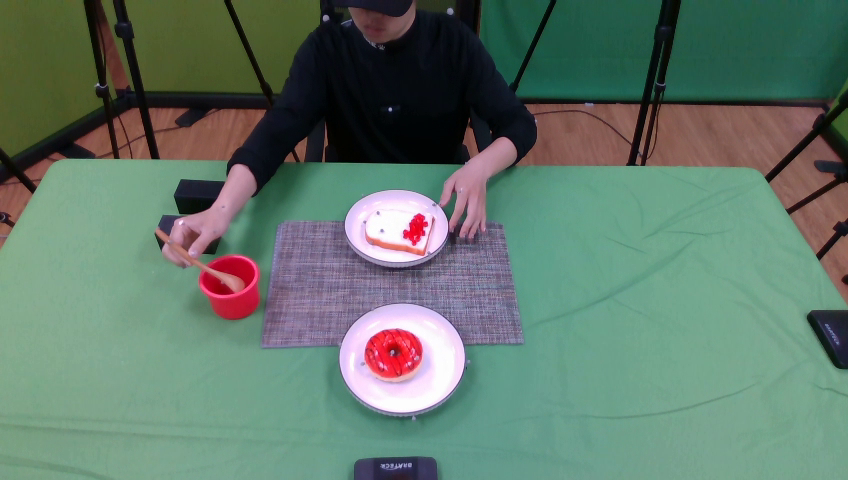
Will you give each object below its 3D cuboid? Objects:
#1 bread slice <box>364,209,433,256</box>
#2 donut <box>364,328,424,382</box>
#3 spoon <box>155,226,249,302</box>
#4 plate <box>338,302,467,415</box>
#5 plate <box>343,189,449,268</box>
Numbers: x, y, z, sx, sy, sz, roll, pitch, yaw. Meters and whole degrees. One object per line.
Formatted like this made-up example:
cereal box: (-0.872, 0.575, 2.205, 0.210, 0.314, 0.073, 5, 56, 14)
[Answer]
bread slice: (-0.053, -0.020, 1.199, 0.131, 0.019, 0.104, 10, 46, 4)
donut: (-0.049, 0.185, 0.983, 0.099, 0.048, 0.098, 1, 45, -1)
spoon: (-0.368, 0.041, 1.010, 0.194, 0.021, 0.041, 40, 25, -24)
plate: (-0.035, 0.194, 0.992, 0.208, 0.039, 0.206, 2, 48, -2)
plate: (-0.055, -0.020, 1.195, 0.209, 0.038, 0.208, 2, 46, -2)
